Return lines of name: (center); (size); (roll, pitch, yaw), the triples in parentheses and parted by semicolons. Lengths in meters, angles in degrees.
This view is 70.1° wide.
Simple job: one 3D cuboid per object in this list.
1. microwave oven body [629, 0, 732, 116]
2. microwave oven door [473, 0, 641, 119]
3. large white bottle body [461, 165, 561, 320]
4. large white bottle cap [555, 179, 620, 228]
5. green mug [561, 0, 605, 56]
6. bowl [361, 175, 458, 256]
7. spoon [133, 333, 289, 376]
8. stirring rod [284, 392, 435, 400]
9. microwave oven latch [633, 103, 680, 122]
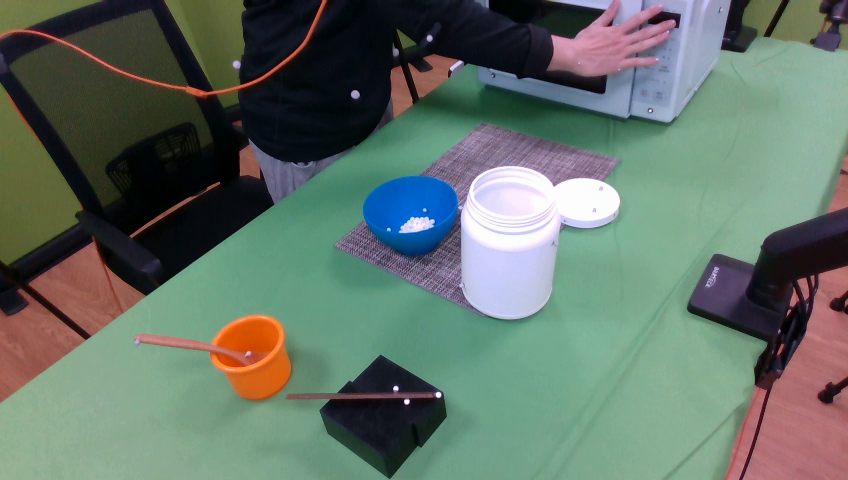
microwave oven body: (0.377, -0.463, 1.267); (0.438, 0.261, 0.327); (21, 49, 30)
microwave oven door: (0.253, -0.391, 1.195); (0.353, 0.245, 0.039); (23, 49, 31)
large white bottle body: (0.115, 0.004, 0.816); (0.130, 0.185, 0.130); (-2, 43, 2)
large white bottle cap: (0.265, -0.062, 1.001); (0.115, 0.018, 0.114); (-4, 41, 4)
green mug: (0.336, -0.450, 1.292); (0.092, 0.105, 0.125); (7, 49, 22)
bowl: (-0.019, -0.028, 0.955); (0.151, 0.077, 0.150); (-4, 40, 4)
spoon: (-0.257, 0.137, 0.747); (0.021, 0.195, 0.041); (-47, 40, 22)
stirring rod: (-0.075, 0.180, 0.698); (0.176, 0.006, 0.014); (-2, 6, 6)
microwave oven latch: (0.443, -0.249, 1.158); (0.078, 0.029, 0.030); (21, 49, 30)
